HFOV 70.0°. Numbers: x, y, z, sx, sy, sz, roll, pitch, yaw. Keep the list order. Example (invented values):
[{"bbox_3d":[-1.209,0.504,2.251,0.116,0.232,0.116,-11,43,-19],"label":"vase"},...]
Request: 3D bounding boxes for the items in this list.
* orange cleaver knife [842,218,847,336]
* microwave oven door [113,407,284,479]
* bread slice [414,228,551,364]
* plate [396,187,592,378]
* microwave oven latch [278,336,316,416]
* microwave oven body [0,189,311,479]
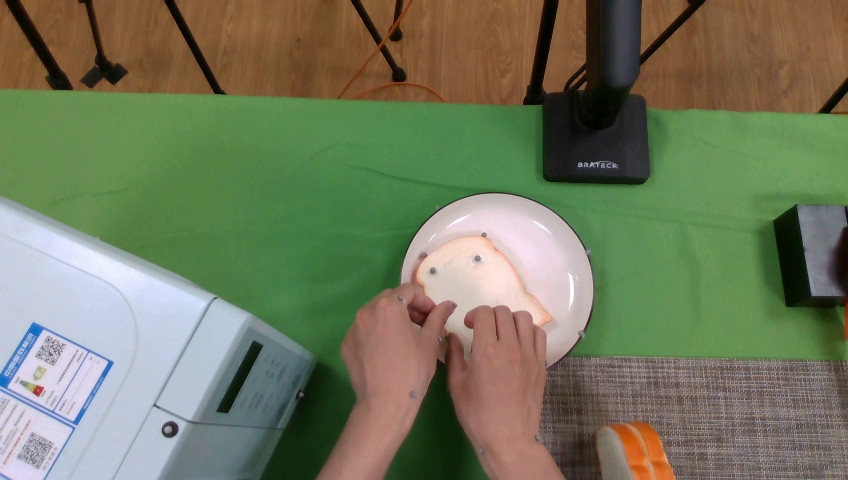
[{"bbox_3d":[0.445,0.078,0.610,0.012,0.077,0.211,-3,94,3],"label":"orange cleaver knife"},{"bbox_3d":[-0.231,0.298,0.462,0.039,0.245,0.354,22,75,9],"label":"microwave oven door"},{"bbox_3d":[0.052,0.054,0.651,0.107,0.018,0.133,-33,74,-11],"label":"bread slice"},{"bbox_3d":[0.074,0.045,0.655,0.208,0.039,0.206,0,73,1],"label":"plate"},{"bbox_3d":[-0.138,0.136,0.614,0.030,0.029,0.079,25,76,8],"label":"microwave oven latch"},{"bbox_3d":[-0.348,0.208,0.497,0.325,0.261,0.440,22,76,8],"label":"microwave oven body"}]
